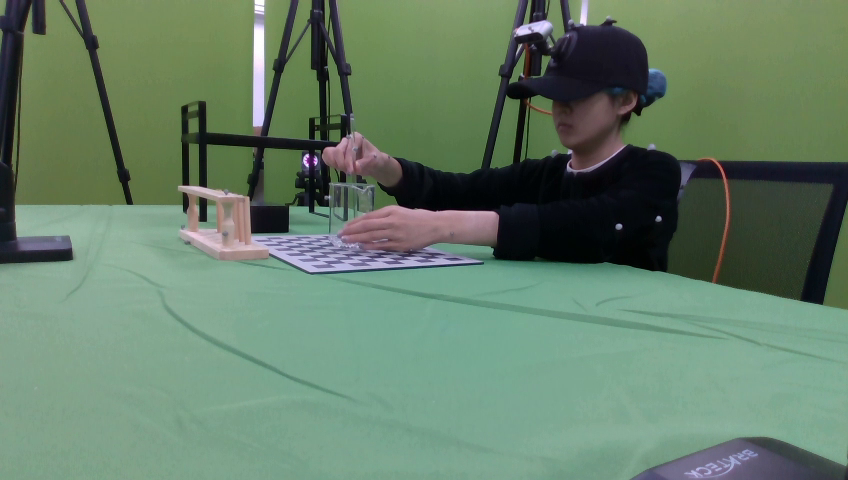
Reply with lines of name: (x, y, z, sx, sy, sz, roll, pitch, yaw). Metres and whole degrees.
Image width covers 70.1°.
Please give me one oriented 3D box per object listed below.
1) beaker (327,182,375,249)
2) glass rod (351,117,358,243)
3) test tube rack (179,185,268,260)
beaker: (-0.114, -0.039, 0.950, 0.074, 0.100, 0.083, -2, 10, -31)
glass rod: (-0.112, -0.094, 0.965, 0.008, 0.199, 0.008, -1, 7, 0)
test tube rack: (-0.303, -0.031, 0.898, 0.067, 0.085, 0.241, -2, 9, -33)
